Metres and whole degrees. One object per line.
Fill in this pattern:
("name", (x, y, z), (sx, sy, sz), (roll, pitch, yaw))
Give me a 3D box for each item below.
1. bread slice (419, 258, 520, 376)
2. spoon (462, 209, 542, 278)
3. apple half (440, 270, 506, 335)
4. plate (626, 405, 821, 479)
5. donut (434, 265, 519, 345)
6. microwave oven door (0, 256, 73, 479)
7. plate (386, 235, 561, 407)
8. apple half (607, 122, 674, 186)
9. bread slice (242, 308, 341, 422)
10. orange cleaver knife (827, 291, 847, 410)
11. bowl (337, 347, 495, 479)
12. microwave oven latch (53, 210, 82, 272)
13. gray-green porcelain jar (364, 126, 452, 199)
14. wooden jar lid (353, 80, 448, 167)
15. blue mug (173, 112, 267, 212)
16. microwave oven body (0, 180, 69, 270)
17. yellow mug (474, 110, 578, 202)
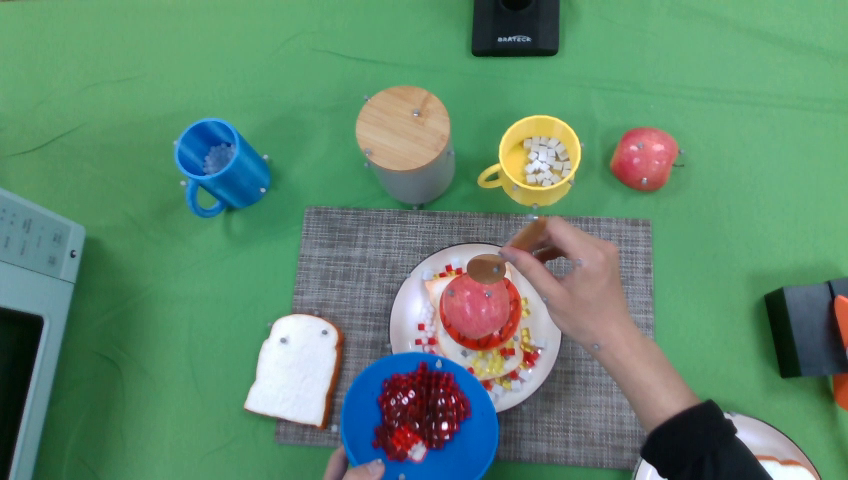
("bread slice", (0.062, 0.095, 0.733), (0.107, 0.018, 0.133), (-15, 77, 0))
("spoon", (0.073, 0.007, 0.563), (0.042, 0.194, 0.021), (23, 74, -4))
("apple half", (0.055, 0.065, 0.675), (0.081, 0.033, 0.081), (-4, 72, 11))
("plate", (0.323, 0.287, 0.661), (0.209, 0.038, 0.208), (-2, 75, 6))
("donut", (0.062, 0.075, 0.709), (0.099, 0.048, 0.098), (-1, 76, 6))
("microwave oven door", (-0.505, 0.187, 0.645), (0.039, 0.245, 0.354), (3, 76, 7))
("plate", (0.059, 0.098, 0.733), (0.207, 0.039, 0.206), (-1, 76, 6))
("apple half", (0.274, -0.114, 0.762), (0.074, 0.054, 0.080), (24, 79, 14))
("bread slice", (-0.161, 0.150, 0.752), (0.105, 0.019, 0.131), (10, 77, 8))
("orange cleaver knife", (0.465, 0.162, 0.656), (0.012, 0.077, 0.211), (-8, 96, -3))
("bowl", (-0.012, 0.189, 0.593), (0.152, 0.077, 0.150), (7, 46, -7))
("microwave oven latch", (-0.475, 0.001, 0.795), (0.030, 0.029, 0.079), (7, 77, 7))
("gray-green porcelain jar", (-0.019, -0.115, 0.753), (0.106, 0.127, 0.105), (-1, 75, 5))
("wooden jar lid", (-0.027, -0.131, 0.692), (0.108, 0.021, 0.108), (-1, 73, 3))
("blue mug", (-0.268, -0.090, 0.782), (0.082, 0.106, 0.116), (23, 79, 11))
("microwave oven body", (-0.646, 0.140, 0.677), (0.326, 0.261, 0.439), (3, 76, 6))
("yellow mug", (0.125, -0.100, 0.766), (0.131, 0.064, 0.099), (-19, 74, 1))
